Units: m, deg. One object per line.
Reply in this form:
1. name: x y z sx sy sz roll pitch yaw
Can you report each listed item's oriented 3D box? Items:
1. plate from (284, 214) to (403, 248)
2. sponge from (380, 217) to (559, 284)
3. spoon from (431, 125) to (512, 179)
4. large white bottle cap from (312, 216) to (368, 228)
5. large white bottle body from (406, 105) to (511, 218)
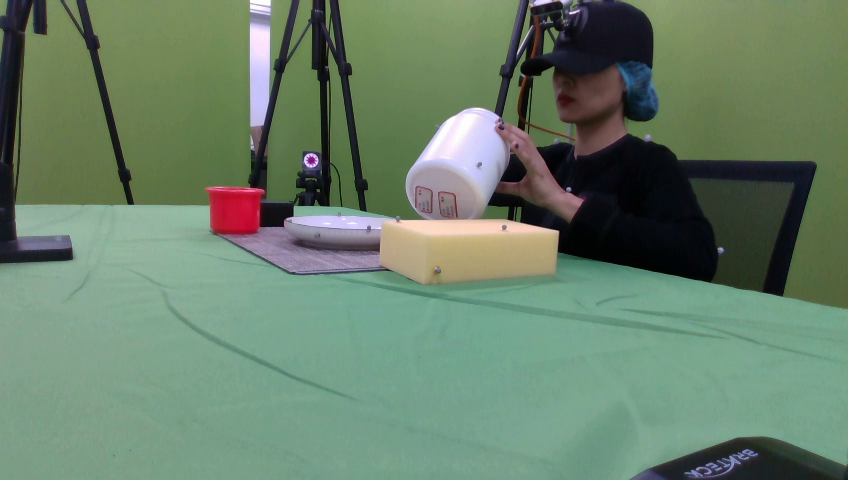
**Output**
1. plate: -0.122 -0.015 0.984 0.209 0.038 0.209 2 7 0
2. sponge: 0.059 0.008 0.786 0.208 0.061 0.117 -3 11 -32
3. spoon: 0.081 -0.144 0.966 0.041 0.021 0.194 13 35 42
4. large white bottle cap: -0.171 -0.038 1.234 0.115 0.018 0.115 1 5 0
5. large white bottle body: 0.063 -0.123 0.964 0.130 0.131 0.185 5 42 25
